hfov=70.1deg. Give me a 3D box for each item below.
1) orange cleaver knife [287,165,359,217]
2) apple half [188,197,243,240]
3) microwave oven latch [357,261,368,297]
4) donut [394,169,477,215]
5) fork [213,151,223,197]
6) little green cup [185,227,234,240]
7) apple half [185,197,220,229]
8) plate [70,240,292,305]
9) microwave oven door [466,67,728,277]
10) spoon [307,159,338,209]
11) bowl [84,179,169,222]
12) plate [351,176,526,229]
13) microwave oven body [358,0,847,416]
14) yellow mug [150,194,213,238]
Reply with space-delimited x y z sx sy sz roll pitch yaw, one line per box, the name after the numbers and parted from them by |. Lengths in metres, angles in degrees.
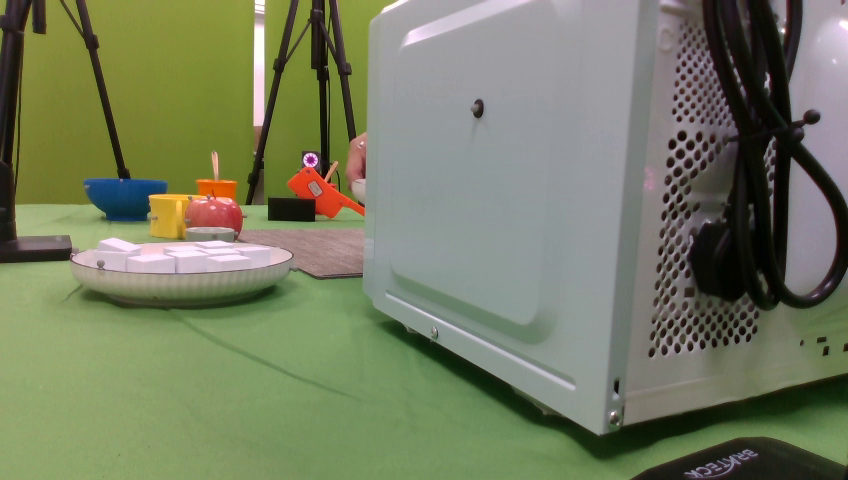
-0.211 -0.093 1.382 0.212 0.077 0.012 34 1 -15 | orange cleaver knife
-0.305 -0.026 0.907 0.053 0.074 0.081 12 8 31 | apple half
-0.020 0.033 0.532 0.079 0.029 0.030 -1 8 -29 | microwave oven latch
0.013 -0.056 0.716 0.099 0.048 0.099 11 8 -1 | donut
-0.494 -0.143 1.442 0.028 0.018 0.206 -2 52 -20 | fork
-0.285 0.005 0.805 0.061 0.038 0.061 2 8 0 | little green cup
-0.338 -0.031 0.927 0.032 0.081 0.081 12 12 31 | apple half
-0.242 0.031 0.618 0.208 0.039 0.207 2 8 0 | plate
0.207 -0.096 0.814 0.354 0.243 0.039 9 11 42 | microwave oven door
-0.257 -0.147 1.567 0.041 0.022 0.193 1 50 19 | spoon
-0.584 -0.078 1.194 0.151 0.077 0.151 3 8 0 | bowl
0.015 -0.044 0.716 0.209 0.038 0.209 7 9 -1 | plate
0.210 -0.047 0.475 0.444 0.260 0.324 -1 7 -28 | microwave oven body
-0.401 -0.040 1.003 0.100 0.064 0.130 -1 9 -20 | yellow mug
